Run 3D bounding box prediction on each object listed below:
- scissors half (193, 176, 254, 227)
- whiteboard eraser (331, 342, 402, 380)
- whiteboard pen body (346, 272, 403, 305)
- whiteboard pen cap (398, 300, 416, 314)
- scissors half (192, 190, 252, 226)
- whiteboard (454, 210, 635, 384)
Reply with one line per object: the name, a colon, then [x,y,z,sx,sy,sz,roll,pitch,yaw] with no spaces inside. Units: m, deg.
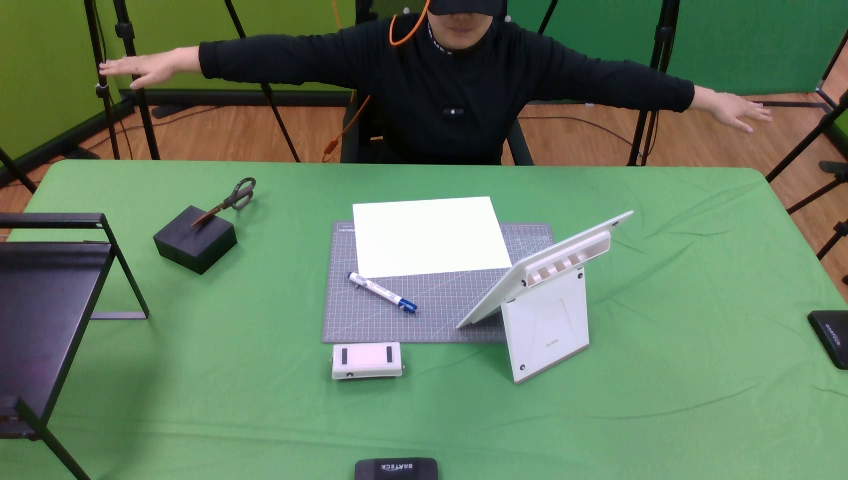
scissors half: [-0.388,-0.075,1.174,0.013,0.040,0.174,28,47,8]
whiteboard eraser: [-0.094,0.198,0.986,0.113,0.042,0.055,-2,44,-6]
whiteboard pen body: [-0.081,0.092,1.098,0.140,0.017,0.017,26,50,17]
whiteboard pen cap: [-0.031,0.118,1.080,0.033,0.018,0.018,24,49,20]
scissors half: [-0.393,-0.060,1.187,0.013,0.040,0.175,24,29,12]
whiteboard: [0.210,0.110,0.955,0.217,0.306,0.143,-21,72,-23]
